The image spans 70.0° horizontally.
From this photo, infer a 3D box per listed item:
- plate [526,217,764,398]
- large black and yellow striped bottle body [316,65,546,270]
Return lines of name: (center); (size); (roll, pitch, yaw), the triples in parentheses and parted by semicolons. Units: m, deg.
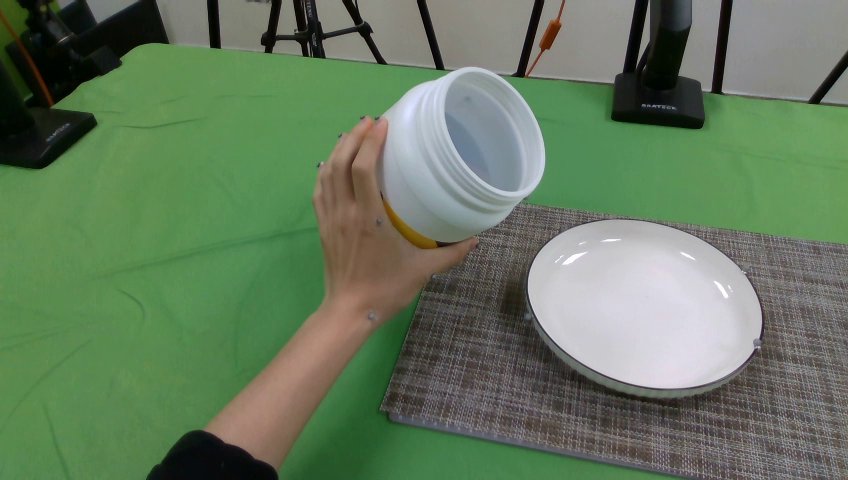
plate: (0.197, 0.060, 0.560); (0.208, 0.039, 0.205); (-1, 43, 1)
large black and yellow striped bottle body: (0.003, -0.057, 0.525); (0.132, 0.183, 0.130); (15, 64, -33)
